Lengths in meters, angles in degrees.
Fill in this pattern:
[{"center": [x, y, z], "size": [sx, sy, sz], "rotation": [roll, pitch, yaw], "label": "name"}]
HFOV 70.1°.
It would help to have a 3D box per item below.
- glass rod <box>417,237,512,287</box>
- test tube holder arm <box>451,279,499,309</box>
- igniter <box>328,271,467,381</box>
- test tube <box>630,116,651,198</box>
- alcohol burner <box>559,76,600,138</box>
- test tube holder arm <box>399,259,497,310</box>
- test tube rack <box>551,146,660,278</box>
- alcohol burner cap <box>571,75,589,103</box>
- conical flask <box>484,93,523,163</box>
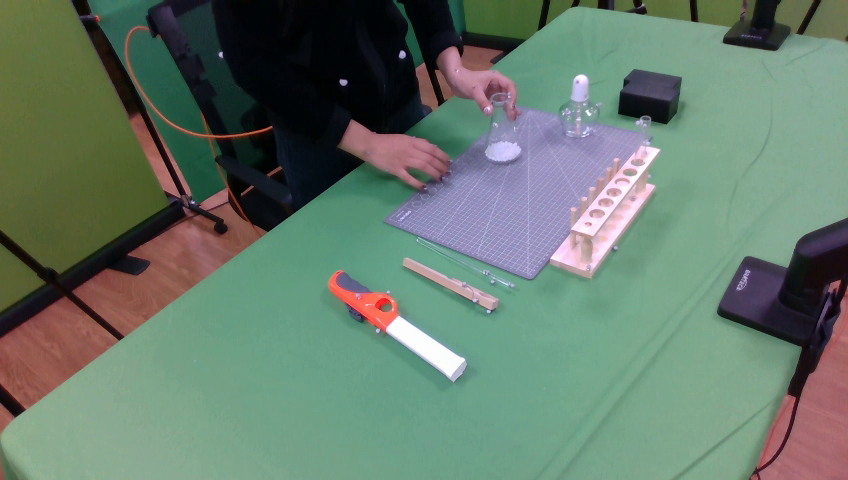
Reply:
[{"center": [0.059, 0.032, 0.945], "size": [0.198, 0.008, 0.008], "rotation": [26, 52, 38], "label": "glass rod"}, {"center": [0.071, 0.079, 0.882], "size": [0.087, 0.015, 0.010], "rotation": [23, 13, 34], "label": "test tube holder arm"}, {"center": [-0.049, 0.114, 0.854], "size": [0.274, 0.025, 0.057], "rotation": [29, 63, 37], "label": "igniter"}, {"center": [0.336, -0.125, 0.941], "size": [0.017, 0.151, 0.017], "rotation": [-5, 43, 5], "label": "test tube"}, {"center": [0.298, -0.258, 1.156], "size": [0.078, 0.119, 0.077], "rotation": [-4, 39, 4], "label": "alcohol burner"}, {"center": [0.033, 0.064, 0.902], "size": [0.177, 0.015, 0.013], "rotation": [23, 13, 32], "label": "test tube holder arm"}, {"center": [0.286, -0.053, 0.943], "size": [0.066, 0.085, 0.243], "rotation": [21, 49, 32], "label": "test tube rack"}, {"center": [0.294, -0.284, 1.132], "size": [0.034, 0.048, 0.033], "rotation": [-5, 46, 5], "label": "alcohol burner cap"}, {"center": [0.144, -0.209, 1.116], "size": [0.075, 0.122, 0.075], "rotation": [-6, 42, 5], "label": "conical flask"}]
